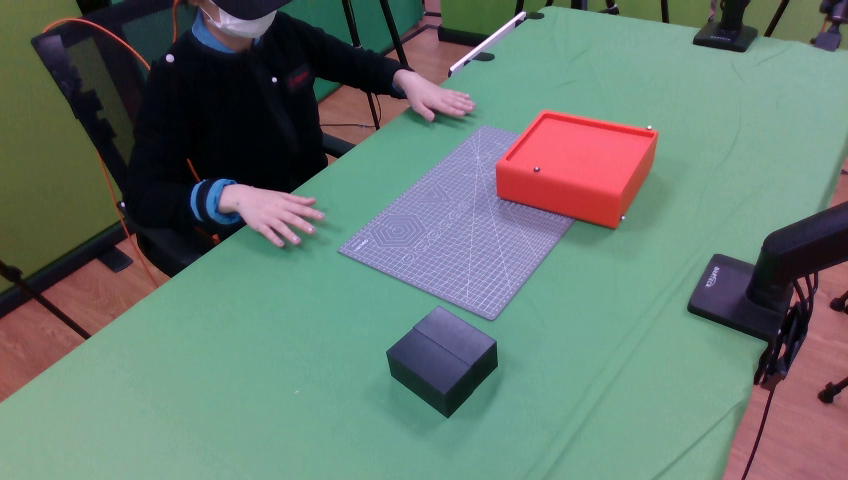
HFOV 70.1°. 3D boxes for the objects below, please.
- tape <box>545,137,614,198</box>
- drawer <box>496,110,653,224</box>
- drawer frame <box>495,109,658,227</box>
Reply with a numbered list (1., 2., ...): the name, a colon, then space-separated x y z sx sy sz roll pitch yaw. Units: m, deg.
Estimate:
1. tape: 0.264 -0.125 1.036 0.117 0.053 0.116 -4 40 4
2. drawer: 0.257 -0.130 1.032 0.210 0.073 0.195 18 46 26
3. drawer frame: 0.260 -0.130 1.031 0.212 0.083 0.202 18 46 26
